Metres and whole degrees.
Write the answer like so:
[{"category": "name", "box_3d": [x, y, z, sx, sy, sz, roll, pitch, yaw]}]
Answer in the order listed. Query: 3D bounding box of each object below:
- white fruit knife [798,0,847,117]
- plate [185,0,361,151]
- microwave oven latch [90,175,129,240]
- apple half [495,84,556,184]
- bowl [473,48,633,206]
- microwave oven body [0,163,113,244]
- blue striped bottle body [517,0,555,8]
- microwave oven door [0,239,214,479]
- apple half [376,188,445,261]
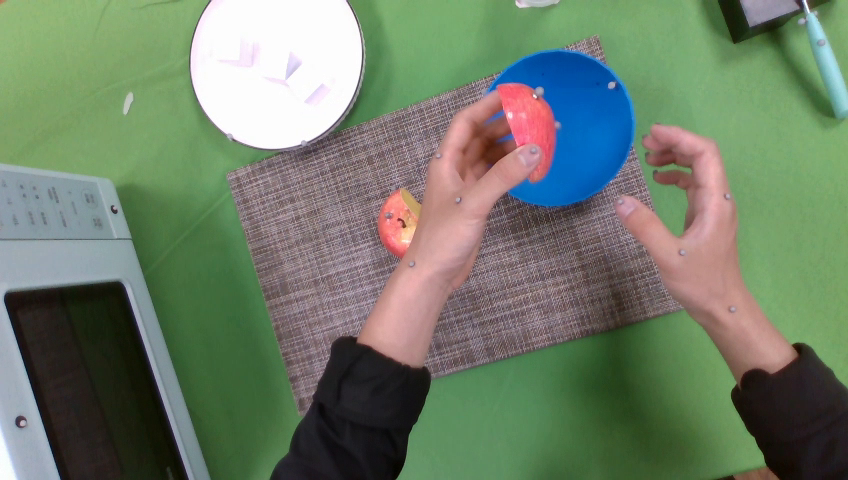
[{"category": "white fruit knife", "box_3d": [0.360, -0.207, 0.568, 0.016, 0.027, 0.208, -24, 104, 28]}, {"category": "plate", "box_3d": [-0.169, -0.203, 0.693, 0.207, 0.039, 0.207, 0, 92, 10]}, {"category": "microwave oven latch", "box_3d": [-0.380, -0.036, 0.718, 0.030, 0.029, 0.079, -19, 88, 10]}, {"category": "apple half", "box_3d": [0.080, -0.080, 0.441, 0.033, 0.081, 0.081, -20, 87, 16]}, {"category": "bowl", "box_3d": [0.129, -0.108, 0.614, 0.151, 0.077, 0.151, 0, 92, 11]}, {"category": "microwave oven body", "box_3d": [-0.477, 0.181, 0.643, 0.326, 0.260, 0.441, -20, 88, 10]}, {"category": "blue striped bottle body", "box_3d": [0.111, -0.281, 0.595, 0.063, 0.121, 0.063, 0, 91, 11]}, {"category": "microwave oven door", "box_3d": [-0.329, 0.172, 0.610, 0.039, 0.244, 0.355, -20, 87, 11]}, {"category": "apple half", "box_3d": [-0.021, -0.010, 0.647, 0.053, 0.074, 0.080, -38, 88, 13]}]
